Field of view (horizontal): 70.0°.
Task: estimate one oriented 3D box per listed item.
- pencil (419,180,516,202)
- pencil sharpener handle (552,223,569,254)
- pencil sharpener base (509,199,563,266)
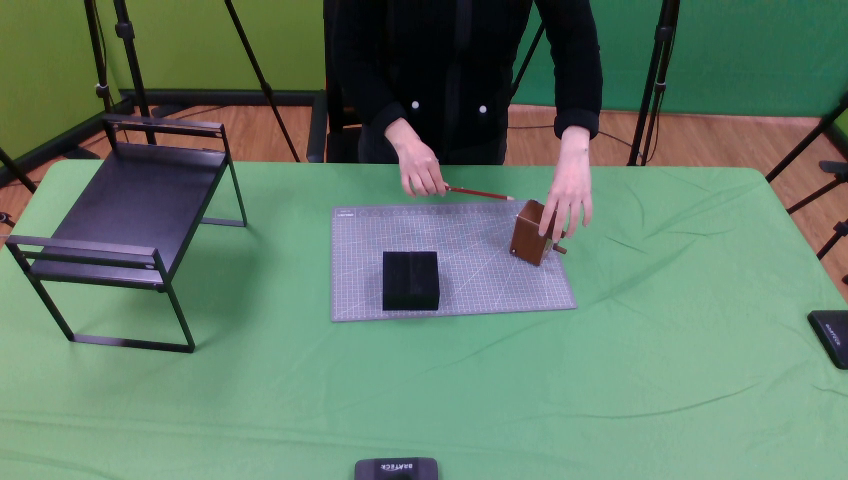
[{"bbox_3d":[0.083,-0.093,1.171,0.194,0.012,0.012,12,47,13],"label":"pencil"},{"bbox_3d":[0.260,-0.001,1.135,0.030,0.068,0.036,27,61,21],"label":"pencil sharpener handle"},{"bbox_3d":[0.216,-0.012,1.160,0.076,0.107,0.061,27,50,21],"label":"pencil sharpener base"}]
